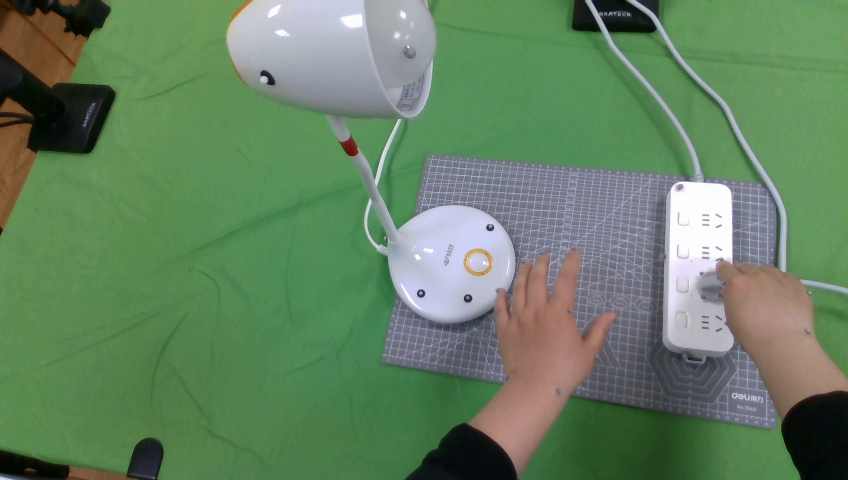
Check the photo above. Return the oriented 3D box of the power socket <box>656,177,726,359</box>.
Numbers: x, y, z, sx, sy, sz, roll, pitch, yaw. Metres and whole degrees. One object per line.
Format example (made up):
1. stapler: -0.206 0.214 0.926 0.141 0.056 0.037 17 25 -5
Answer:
1. power socket: 0.317 0.026 0.718 0.072 0.033 0.225 6 69 11

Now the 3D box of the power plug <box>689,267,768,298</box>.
1. power plug: 0.338 0.053 0.683 0.072 0.053 0.035 18 72 14

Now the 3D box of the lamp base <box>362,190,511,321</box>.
1. lamp base: 0.004 -0.005 0.702 0.179 0.182 0.159 1 68 13

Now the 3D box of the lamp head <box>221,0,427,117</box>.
1. lamp head: -0.068 -0.132 0.406 0.122 0.113 0.111 -4 67 25

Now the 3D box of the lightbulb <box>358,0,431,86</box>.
1. lightbulb: -0.048 -0.130 0.390 0.107 0.060 0.059 6 69 21
